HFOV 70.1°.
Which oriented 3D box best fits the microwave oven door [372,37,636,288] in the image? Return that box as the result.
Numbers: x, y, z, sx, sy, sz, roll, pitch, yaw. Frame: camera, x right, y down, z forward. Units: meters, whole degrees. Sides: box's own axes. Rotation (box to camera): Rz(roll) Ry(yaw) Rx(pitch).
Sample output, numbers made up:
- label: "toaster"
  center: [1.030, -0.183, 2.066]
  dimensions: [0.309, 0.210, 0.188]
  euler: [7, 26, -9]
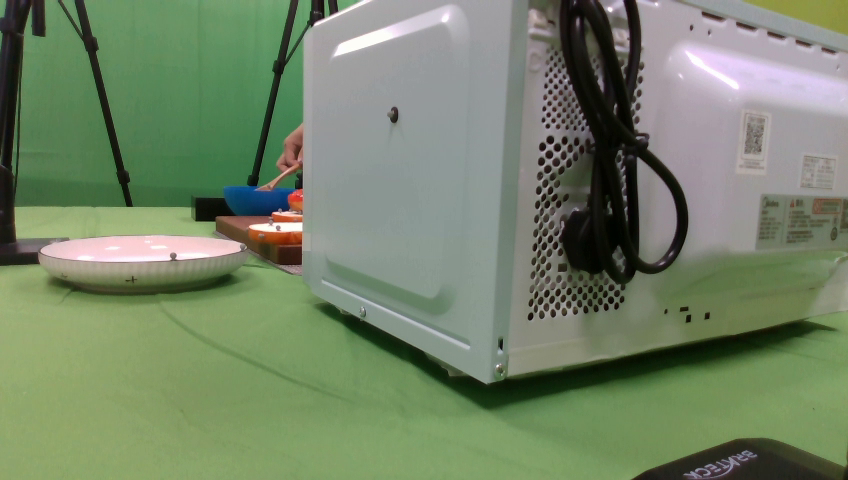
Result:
- label: "microwave oven door"
  center: [0.110, -0.080, 0.686]
  dimensions: [0.358, 0.243, 0.039]
  euler: [-2, 9, -33]

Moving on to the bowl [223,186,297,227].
- label: "bowl"
  center: [-0.330, -0.068, 1.230]
  dimensions: [0.151, 0.077, 0.151]
  euler: [3, 8, 0]

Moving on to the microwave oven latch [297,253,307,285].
- label: "microwave oven latch"
  center: [-0.082, 0.027, 0.582]
  dimensions: [0.079, 0.029, 0.030]
  euler: [-1, 7, -32]

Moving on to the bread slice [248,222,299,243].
- label: "bread slice"
  center: [-0.174, -0.012, 0.844]
  dimensions: [0.135, 0.018, 0.106]
  euler: [-6, 10, -44]

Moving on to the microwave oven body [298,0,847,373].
- label: "microwave oven body"
  center: [0.151, -0.055, 0.543]
  dimensions: [0.444, 0.260, 0.324]
  euler: [-2, 7, -33]

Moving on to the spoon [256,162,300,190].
- label: "spoon"
  center: [-0.289, -0.133, 1.253]
  dimensions: [0.194, 0.022, 0.041]
  euler: [-40, 47, -19]

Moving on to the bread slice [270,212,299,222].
- label: "bread slice"
  center: [-0.198, -0.038, 1.051]
  dimensions: [0.132, 0.019, 0.104]
  euler: [0, 6, -31]

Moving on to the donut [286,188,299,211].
- label: "donut"
  center: [-0.190, -0.068, 1.055]
  dimensions: [0.099, 0.048, 0.099]
  euler: [3, 7, 0]

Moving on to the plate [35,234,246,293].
- label: "plate"
  center: [-0.305, 0.026, 0.668]
  dimensions: [0.208, 0.039, 0.207]
  euler: [2, 7, 0]
